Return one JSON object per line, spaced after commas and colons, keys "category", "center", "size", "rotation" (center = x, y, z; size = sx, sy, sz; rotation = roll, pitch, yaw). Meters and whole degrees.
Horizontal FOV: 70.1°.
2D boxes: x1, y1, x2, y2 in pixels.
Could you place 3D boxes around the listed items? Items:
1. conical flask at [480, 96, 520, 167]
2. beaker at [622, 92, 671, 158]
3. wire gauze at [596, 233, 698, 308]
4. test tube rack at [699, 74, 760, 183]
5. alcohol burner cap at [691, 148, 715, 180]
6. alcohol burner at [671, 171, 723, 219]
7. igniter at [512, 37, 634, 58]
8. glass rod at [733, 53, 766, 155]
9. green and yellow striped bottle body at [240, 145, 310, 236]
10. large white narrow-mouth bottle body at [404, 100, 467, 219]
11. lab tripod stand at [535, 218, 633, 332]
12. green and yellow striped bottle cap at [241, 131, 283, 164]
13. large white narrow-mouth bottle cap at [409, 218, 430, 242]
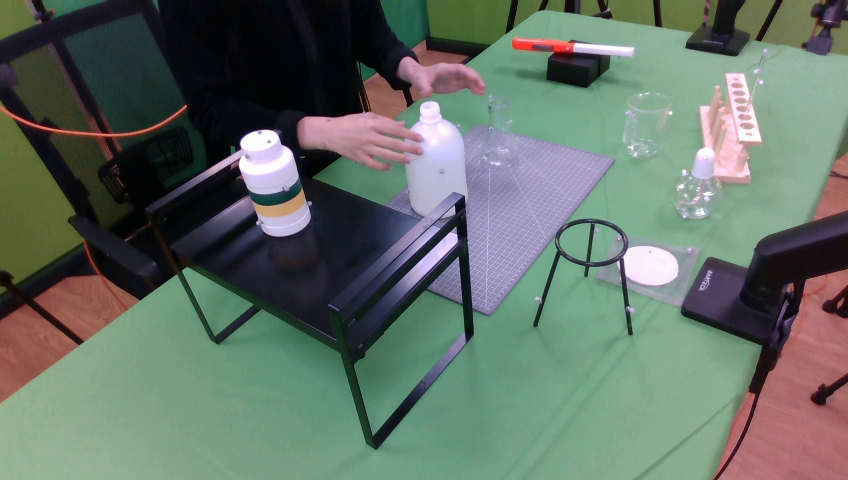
{"category": "conical flask", "center": [0.138, -0.201, 1.111], "size": [0.075, 0.122, 0.075], "rotation": [-4, 41, 4]}
{"category": "beaker", "center": [0.402, -0.210, 1.106], "size": [0.074, 0.101, 0.083], "rotation": [-9, 40, -2]}
{"category": "wire gauze", "center": [0.331, 0.038, 0.897], "size": [0.124, 0.011, 0.121], "rotation": [18, 47, 26]}
{"category": "test tube rack", "center": [0.547, -0.208, 1.095], "size": [0.066, 0.085, 0.242], "rotation": [6, 42, 16]}
{"category": "alcohol burner cap", "center": [0.432, -0.120, 0.930], "size": [0.034, 0.048, 0.033], "rotation": [-7, 48, 8]}
{"category": "alcohol burner", "center": [0.434, -0.093, 0.955], "size": [0.078, 0.119, 0.077], "rotation": [-3, 43, 4]}
{"category": "igniter", "center": [0.328, -0.433, 1.360], "size": [0.275, 0.025, 0.057], "rotation": [12, 33, 20]}
{"category": "glass rod", "center": [0.540, -0.219, 1.006], "size": [0.008, 0.201, 0.008], "rotation": [-5, 45, 6]}
{"category": "green and yellow striped bottle body", "center": [-0.181, -0.068, 0.729], "size": [0.063, 0.120, 0.063], "rotation": [-4, 40, 4]}
{"category": "large white narrow-mouth bottle body", "center": [0.018, -0.136, 0.998], "size": [0.102, 0.195, 0.101], "rotation": [-3, 40, 3]}
{"category": "lab tripod stand", "center": [0.215, 0.050, 0.803], "size": [0.148, 0.132, 0.147], "rotation": [-4, 42, 4]}
{"category": "green and yellow striped bottle cap", "center": [-0.187, -0.107, 0.695], "size": [0.045, 0.020, 0.045], "rotation": [-3, 39, 3]}
{"category": "large white narrow-mouth bottle cap", "center": [-0.008, -0.017, 0.999], "size": [0.038, 0.024, 0.037], "rotation": [-3, 39, 3]}
